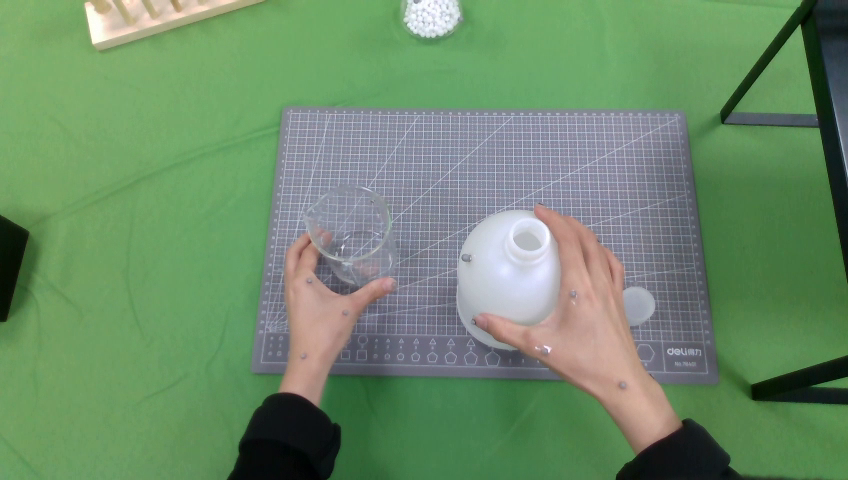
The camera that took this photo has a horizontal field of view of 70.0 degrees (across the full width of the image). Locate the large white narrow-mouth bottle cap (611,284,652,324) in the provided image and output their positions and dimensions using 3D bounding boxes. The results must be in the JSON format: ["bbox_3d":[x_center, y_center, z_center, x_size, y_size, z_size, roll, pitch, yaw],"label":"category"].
[{"bbox_3d":[0.203,0.064,0.593,0.038,0.024,0.037,-1,71,3],"label":"large white narrow-mouth bottle cap"}]

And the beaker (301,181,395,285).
[{"bbox_3d":[-0.068,-0.002,0.581,0.084,0.101,0.073,11,70,6],"label":"beaker"}]

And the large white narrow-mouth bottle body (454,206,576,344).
[{"bbox_3d":[0.077,0.027,0.519,0.102,0.196,0.101,-1,72,4],"label":"large white narrow-mouth bottle body"}]

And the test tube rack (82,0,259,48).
[{"bbox_3d":[-0.290,-0.310,0.705,0.242,0.086,0.066,-19,71,-5],"label":"test tube rack"}]

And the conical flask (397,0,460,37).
[{"bbox_3d":[0.004,-0.291,0.672,0.075,0.122,0.075,-1,70,2],"label":"conical flask"}]
